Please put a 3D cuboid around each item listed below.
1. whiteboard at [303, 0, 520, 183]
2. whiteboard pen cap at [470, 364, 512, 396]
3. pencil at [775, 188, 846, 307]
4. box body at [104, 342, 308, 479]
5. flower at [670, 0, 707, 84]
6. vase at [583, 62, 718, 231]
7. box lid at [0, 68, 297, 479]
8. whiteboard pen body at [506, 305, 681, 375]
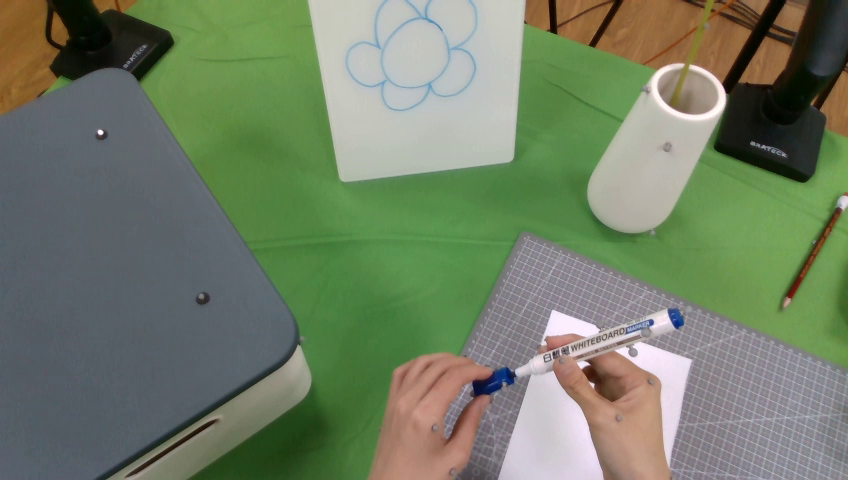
[{"bbox_3d":[-0.016,-0.241,0.687,0.217,0.308,0.142,-7,43,-4],"label":"whiteboard"},{"bbox_3d":[0.055,0.114,0.489,0.033,0.018,0.018,-27,61,21],"label":"whiteboard pen cap"},{"bbox_3d":[0.446,0.006,0.699,0.012,0.012,0.193,36,68,17],"label":"pencil"},{"bbox_3d":[-0.303,0.053,0.573,0.254,0.161,0.361,-33,68,-17],"label":"box body"},{"bbox_3d":[0.234,-0.145,0.574,0.044,0.365,0.038,18,46,12],"label":"flower"},{"bbox_3d":[0.234,-0.092,0.640,0.098,0.201,0.097,0,61,0],"label":"vase"},{"bbox_3d":[-0.303,0.016,0.508,0.263,0.015,0.368,-33,68,-17],"label":"box lid"},{"bbox_3d":[0.120,0.078,0.449,0.140,0.017,0.017,-27,58,28],"label":"whiteboard pen body"}]
